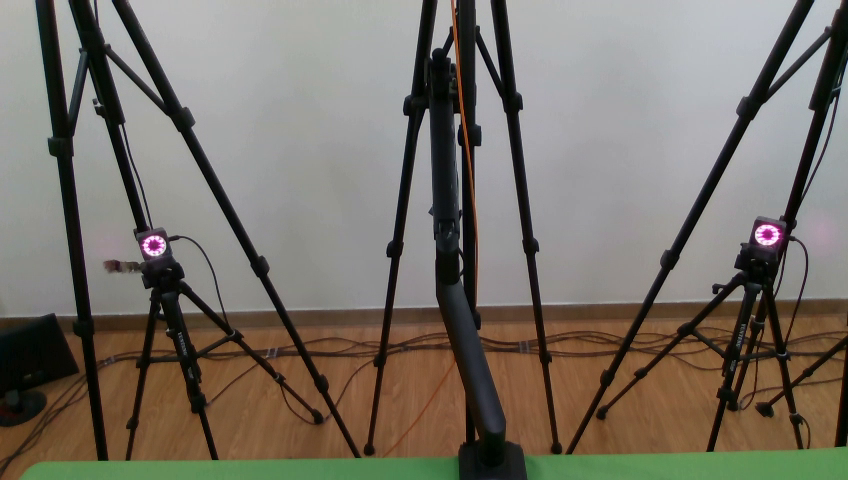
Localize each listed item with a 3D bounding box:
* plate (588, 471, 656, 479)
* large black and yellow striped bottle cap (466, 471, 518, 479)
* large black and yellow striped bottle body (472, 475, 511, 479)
[{"bbox_3d":[0.332,0.464,0.959,0.209,0.038,0.207,-2,32,2],"label":"plate"},{"bbox_3d":[0.096,0.369,0.827,0.115,0.019,0.114,-1,33,1],"label":"large black and yellow striped bottle cap"},{"bbox_3d":[0.098,0.441,0.871,0.131,0.185,0.129,-1,32,1],"label":"large black and yellow striped bottle body"}]
